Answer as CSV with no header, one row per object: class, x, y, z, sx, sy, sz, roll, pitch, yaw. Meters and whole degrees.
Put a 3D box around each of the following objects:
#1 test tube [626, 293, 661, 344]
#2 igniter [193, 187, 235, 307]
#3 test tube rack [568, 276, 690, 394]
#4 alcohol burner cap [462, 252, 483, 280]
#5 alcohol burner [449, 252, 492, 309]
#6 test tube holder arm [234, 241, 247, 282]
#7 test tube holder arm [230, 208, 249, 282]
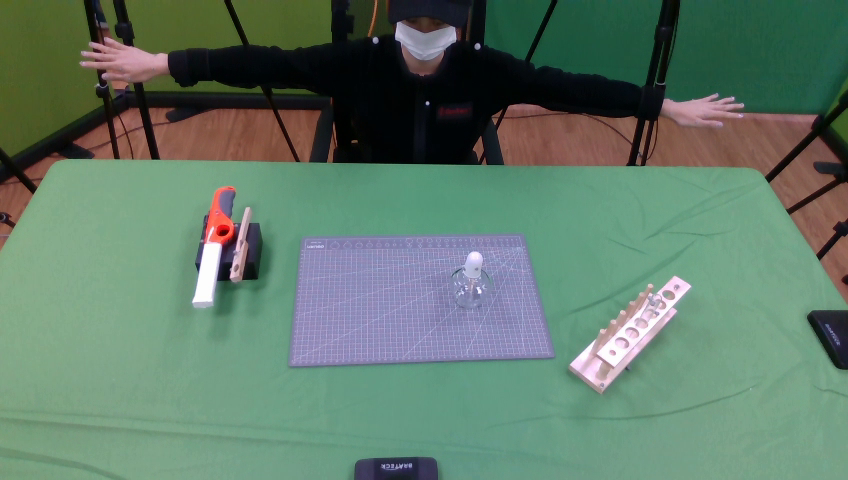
test tube,0.355,0.133,0.984,0.017,0.151,0.017,1,52,0
igniter,-0.379,0.003,1.096,0.057,0.025,0.274,-1,49,-6
test tube rack,0.353,0.149,1.039,0.242,0.085,0.066,-34,56,-31
alcohol burner cap,0.085,0.041,1.047,0.034,0.048,0.033,4,44,-4
alcohol burner,0.084,0.066,1.073,0.078,0.120,0.077,1,44,-1
test tube holder arm,-0.324,0.037,1.071,0.010,0.015,0.087,-7,46,-1
test tube holder arm,-0.334,0.006,1.102,0.013,0.015,0.177,-7,46,-1
